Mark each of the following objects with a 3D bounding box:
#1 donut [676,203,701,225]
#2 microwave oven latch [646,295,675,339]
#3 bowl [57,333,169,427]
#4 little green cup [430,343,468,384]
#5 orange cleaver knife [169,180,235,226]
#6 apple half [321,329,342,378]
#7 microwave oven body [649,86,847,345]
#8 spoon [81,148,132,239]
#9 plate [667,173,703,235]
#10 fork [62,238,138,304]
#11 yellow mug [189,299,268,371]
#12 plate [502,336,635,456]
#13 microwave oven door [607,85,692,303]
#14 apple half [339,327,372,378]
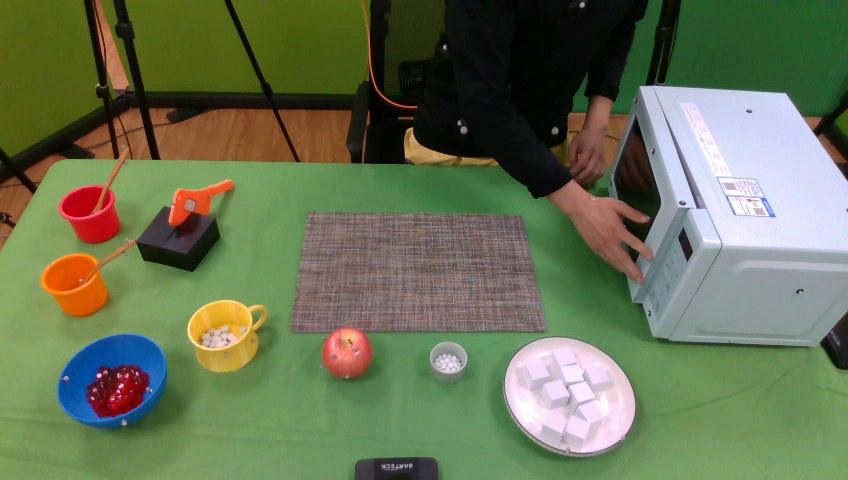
[{"bbox_3d":[0.537,-0.041,1.170,0.099,0.048,0.098,6,23,-2],"label":"donut"},{"bbox_3d":[0.412,0.134,1.061,0.030,0.029,0.078,4,45,1],"label":"microwave oven latch"},{"bbox_3d":[-0.455,0.223,0.912,0.151,0.077,0.150,3,45,-2],"label":"bowl"},{"bbox_3d":[0.039,0.203,0.993,0.061,0.039,0.061,2,46,-2],"label":"little green cup"},{"bbox_3d":[-0.435,-0.076,1.199,0.012,0.077,0.211,17,17,9],"label":"orange cleaver knife"},{"bbox_3d":[-0.149,0.186,0.972,0.033,0.081,0.080,-2,46,-13],"label":"apple half"},{"bbox_3d":[0.567,-0.053,1.118,0.326,0.261,0.439,2,45,-1],"label":"microwave oven body"},{"bbox_3d":[-0.603,-0.089,1.156,0.041,0.022,0.193,28,94,20],"label":"spoon"},{"bbox_3d":[0.555,-0.050,1.187,0.209,0.038,0.208,1,46,-1],"label":"plate"},{"bbox_3d":[-0.547,0.053,1.019,0.207,0.019,0.028,-36,41,23],"label":"fork"},{"bbox_3d":[-0.316,0.148,1.002,0.131,0.064,0.099,-33,56,-31],"label":"yellow mug"},{"bbox_3d":[0.225,0.248,0.963,0.208,0.039,0.206,2,46,-2],"label":"plate"},{"bbox_3d":[0.414,-0.095,1.140,0.039,0.245,0.353,4,46,1],"label":"microwave oven door"},{"bbox_3d":[-0.111,0.182,0.980,0.053,0.075,0.080,-2,42,-12],"label":"apple half"}]
